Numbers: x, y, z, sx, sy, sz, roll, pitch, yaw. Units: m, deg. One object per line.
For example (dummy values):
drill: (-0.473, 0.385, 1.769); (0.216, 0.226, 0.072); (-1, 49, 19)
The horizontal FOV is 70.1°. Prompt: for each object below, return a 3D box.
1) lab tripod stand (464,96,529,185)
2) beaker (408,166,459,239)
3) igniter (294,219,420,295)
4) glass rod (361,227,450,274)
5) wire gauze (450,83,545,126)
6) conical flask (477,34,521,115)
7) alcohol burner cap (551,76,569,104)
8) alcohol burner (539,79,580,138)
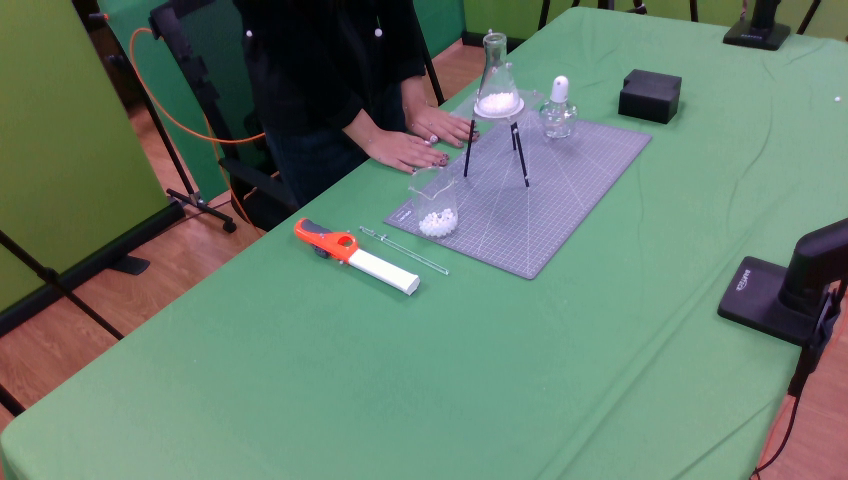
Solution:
lab tripod stand: (0.138, -0.182, 1.082); (0.148, 0.132, 0.147); (-6, 38, 5)
beaker: (0.018, -0.057, 0.984); (0.074, 0.101, 0.083); (-6, 40, 5)
igniter: (-0.118, 0.022, 0.977); (0.274, 0.025, 0.057); (24, 60, 34)
glass rod: (-0.034, 0.015, 0.985); (0.198, 0.008, 0.008); (26, 52, 34)
wire gauze: (0.126, -0.232, 1.041); (0.120, 0.011, 0.125); (17, 48, 31)
conical flask: (0.121, -0.275, 1.000); (0.075, 0.122, 0.075); (-5, 40, 5)
alcohol burner cap: (0.258, -0.285, 1.140); (0.034, 0.048, 0.033); (-2, 47, 2)
alcohol burner: (0.261, -0.258, 1.164); (0.078, 0.119, 0.077); (-4, 42, 4)
